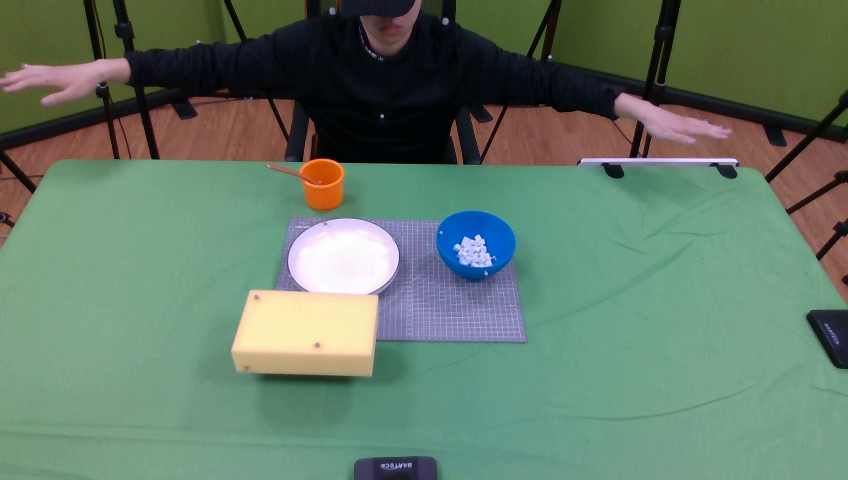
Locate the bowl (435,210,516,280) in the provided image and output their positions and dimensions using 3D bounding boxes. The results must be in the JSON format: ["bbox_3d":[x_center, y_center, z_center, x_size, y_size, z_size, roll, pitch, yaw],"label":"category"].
[{"bbox_3d":[0.093,0.022,1.141,0.151,0.077,0.150,2,46,-2],"label":"bowl"}]

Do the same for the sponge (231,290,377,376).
[{"bbox_3d":[-0.180,0.144,0.949,0.207,0.061,0.117,2,46,-2],"label":"sponge"}]

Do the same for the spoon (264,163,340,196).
[{"bbox_3d":[-0.241,-0.123,1.210,0.021,0.195,0.041,-49,54,13],"label":"spoon"}]

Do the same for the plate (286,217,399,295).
[{"bbox_3d":[-0.150,0.041,1.131,0.209,0.038,0.208,2,45,-2],"label":"plate"}]
